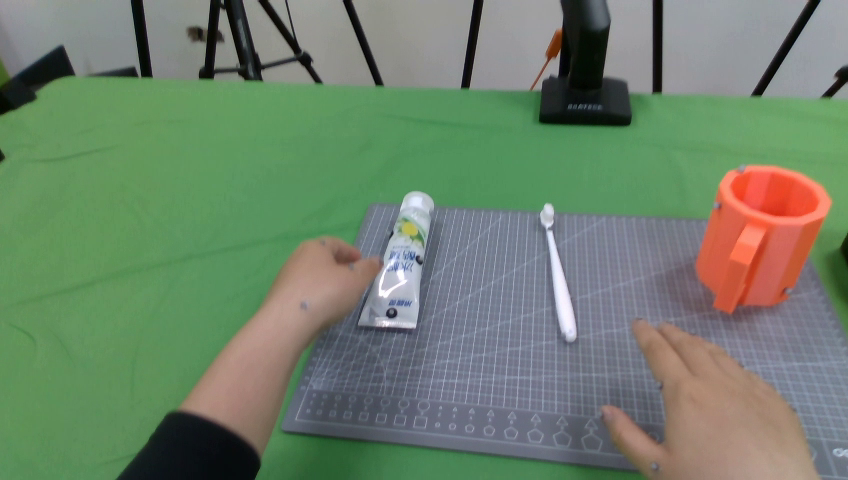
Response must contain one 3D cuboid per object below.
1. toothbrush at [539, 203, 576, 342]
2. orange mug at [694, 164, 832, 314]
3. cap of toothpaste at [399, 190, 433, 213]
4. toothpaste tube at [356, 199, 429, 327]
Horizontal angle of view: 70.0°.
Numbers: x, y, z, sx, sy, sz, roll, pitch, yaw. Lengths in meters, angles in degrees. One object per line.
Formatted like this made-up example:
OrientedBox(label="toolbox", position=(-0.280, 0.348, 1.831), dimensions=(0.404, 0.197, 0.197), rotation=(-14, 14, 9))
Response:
OrientedBox(label="toothbrush", position=(0.127, 0.024, 0.581), dimensions=(0.014, 0.017, 0.180), rotation=(11, 41, -7))
OrientedBox(label="orange mug", position=(0.286, 0.004, 0.527), dimensions=(0.083, 0.101, 0.126), rotation=(24, 44, 30))
OrientedBox(label="cap of toothpaste", position=(-0.009, -0.038, 0.648), dimensions=(0.037, 0.038, 0.011), rotation=(3, 45, 8))
OrientedBox(label="toothpaste tube", position=(-0.023, 0.017, 0.594), dimensions=(0.055, 0.035, 0.163), rotation=(-1, 44, 13))
